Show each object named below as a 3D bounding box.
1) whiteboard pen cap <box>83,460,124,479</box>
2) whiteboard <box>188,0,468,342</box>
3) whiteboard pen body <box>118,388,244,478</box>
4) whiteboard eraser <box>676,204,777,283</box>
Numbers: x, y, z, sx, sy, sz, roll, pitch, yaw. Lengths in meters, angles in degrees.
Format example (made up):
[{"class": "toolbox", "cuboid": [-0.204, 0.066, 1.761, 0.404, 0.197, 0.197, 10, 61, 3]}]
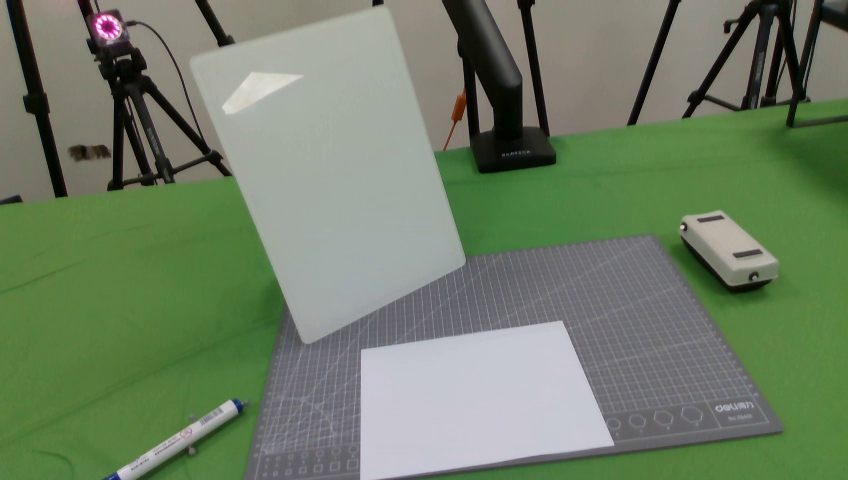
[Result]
[{"class": "whiteboard pen cap", "cuboid": [-0.268, 0.199, 0.507, 0.033, 0.018, 0.018, -31, 41, -33]}, {"class": "whiteboard", "cuboid": [-0.112, -0.081, 0.694, 0.217, 0.307, 0.143, -25, 18, -23]}, {"class": "whiteboard pen body", "cuboid": [-0.225, 0.175, 0.538, 0.141, 0.017, 0.017, -31, 41, -32]}, {"class": "whiteboard eraser", "cuboid": [0.332, 0.003, 0.671, 0.055, 0.042, 0.111, -12, 35, -4]}]
